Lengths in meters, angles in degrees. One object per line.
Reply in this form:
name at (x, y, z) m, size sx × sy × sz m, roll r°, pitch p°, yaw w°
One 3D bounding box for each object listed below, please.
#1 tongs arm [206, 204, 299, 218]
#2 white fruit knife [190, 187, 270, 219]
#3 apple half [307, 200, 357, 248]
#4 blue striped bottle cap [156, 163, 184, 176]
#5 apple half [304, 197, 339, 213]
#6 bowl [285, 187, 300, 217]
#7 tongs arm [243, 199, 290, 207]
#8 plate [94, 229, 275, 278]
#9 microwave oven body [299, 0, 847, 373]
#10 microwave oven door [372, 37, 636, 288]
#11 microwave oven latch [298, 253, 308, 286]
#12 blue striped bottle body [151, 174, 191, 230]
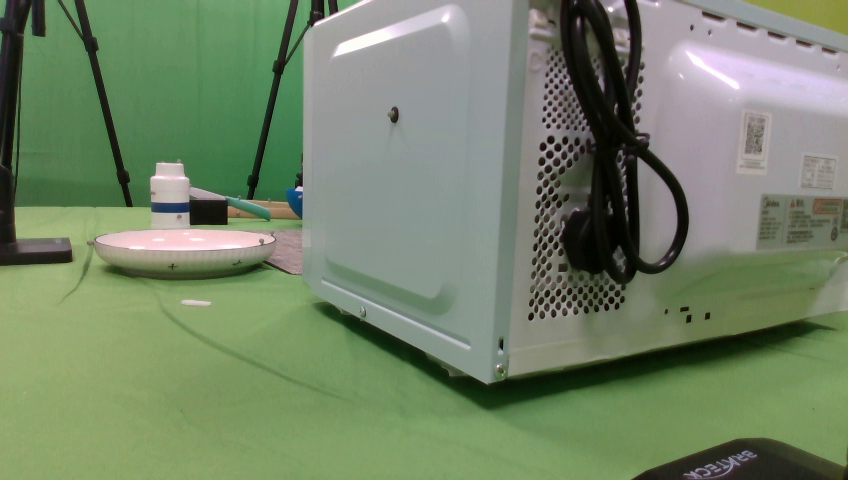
tongs arm at (-0.302, -0.066, 1.406) m, size 0.389 × 0.028 × 0.028 m, roll 1°, pitch 4°, yaw -15°
white fruit knife at (-0.413, -0.081, 1.270) m, size 0.208 × 0.027 × 0.016 m, roll 17°, pitch 13°, yaw -42°
apple half at (-0.135, -0.024, 0.942) m, size 0.053 × 0.074 × 0.081 m, roll 13°, pitch 9°, yaw 38°
blue striped bottle cap at (-0.438, -0.122, 1.045) m, size 0.044 × 0.020 × 0.044 m, roll 5°, pitch 6°, yaw 0°
apple half at (-0.216, -0.073, 1.274) m, size 0.081 × 0.033 × 0.081 m, roll 2°, pitch 8°, yaw 0°
bowl at (-0.218, -0.069, 1.274) m, size 0.151 × 0.077 × 0.151 m, roll 3°, pitch 8°, yaw 0°
tongs arm at (-0.309, -0.079, 1.486) m, size 0.385 × 0.026 × 0.051 m, roll 3°, pitch 7°, yaw -2°
plate at (-0.291, 0.016, 0.749) m, size 0.208 × 0.039 × 0.207 m, roll 2°, pitch 7°, yaw 0°
microwave oven body at (0.152, -0.055, 0.542) m, size 0.444 × 0.260 × 0.324 m, roll -2°, pitch 7°, yaw -33°
microwave oven door at (0.110, -0.080, 0.686) m, size 0.358 × 0.243 × 0.039 m, roll -2°, pitch 9°, yaw -33°
microwave oven latch at (-0.081, 0.027, 0.582) m, size 0.079 × 0.029 × 0.030 m, roll -2°, pitch 7°, yaw -32°
blue striped bottle body at (-0.439, -0.071, 1.052) m, size 0.063 × 0.120 × 0.063 m, roll 2°, pitch 8°, yaw 0°
